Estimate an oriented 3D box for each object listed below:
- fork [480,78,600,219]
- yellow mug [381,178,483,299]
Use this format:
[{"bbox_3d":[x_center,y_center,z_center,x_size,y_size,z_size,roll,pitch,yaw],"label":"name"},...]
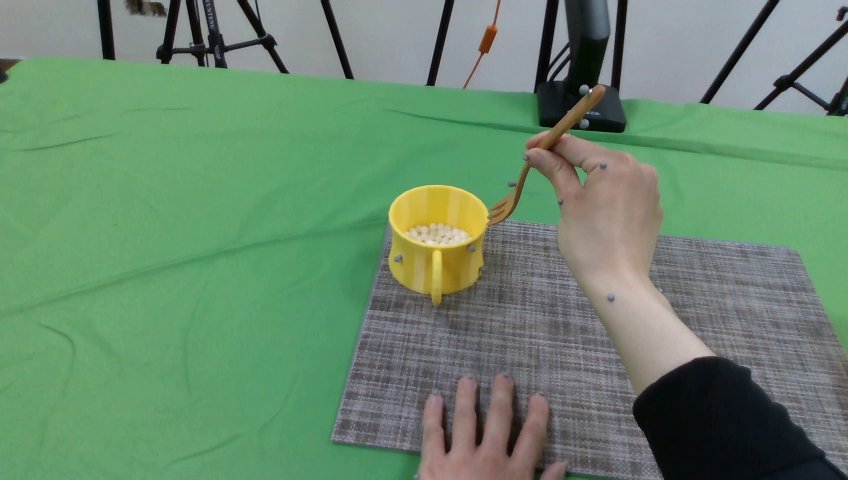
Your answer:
[{"bbox_3d":[0.086,-0.066,0.494,0.018,0.208,0.028,21,64,-5],"label":"fork"},{"bbox_3d":[0.007,0.002,0.603,0.100,0.064,0.129,2,43,-1],"label":"yellow mug"}]
